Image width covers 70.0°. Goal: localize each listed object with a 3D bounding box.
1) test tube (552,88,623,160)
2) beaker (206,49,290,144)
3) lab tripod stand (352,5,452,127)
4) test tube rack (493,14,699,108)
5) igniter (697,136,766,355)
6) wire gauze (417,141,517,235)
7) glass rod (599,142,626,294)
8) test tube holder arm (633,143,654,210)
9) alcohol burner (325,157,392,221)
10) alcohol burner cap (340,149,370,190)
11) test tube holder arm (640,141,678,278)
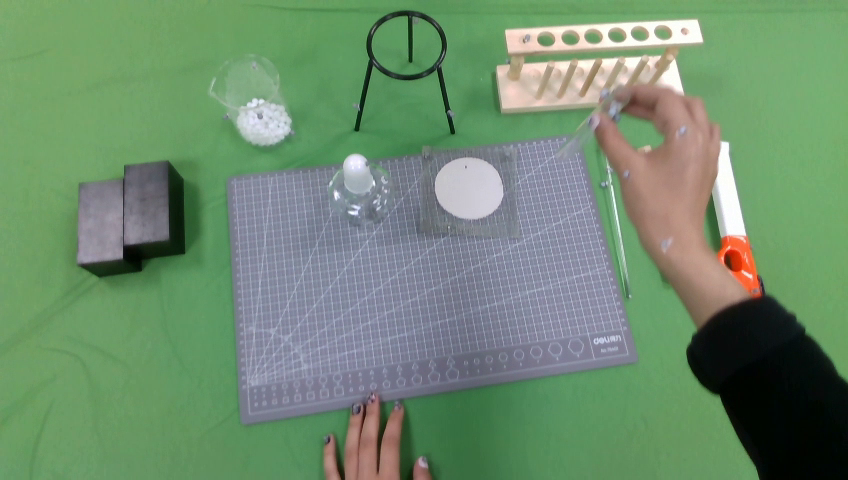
[{"bbox_3d":[0.142,-0.099,0.540,0.017,0.150,0.017,1,81,-4],"label":"test tube"},{"bbox_3d":[-0.207,-0.167,0.731,0.084,0.101,0.073,-16,72,-6],"label":"beaker"},{"bbox_3d":[-0.026,-0.200,0.731,0.148,0.132,0.147,1,73,-2],"label":"lab tripod stand"},{"bbox_3d":[0.216,-0.227,0.774,0.242,0.085,0.066,-4,72,-3],"label":"test tube rack"},{"bbox_3d":[0.372,0.001,0.736,0.057,0.025,0.274,2,71,-13],"label":"igniter"},{"bbox_3d":[0.054,-0.068,0.754,0.125,0.011,0.120,3,73,-2],"label":"wire gauze"},{"bbox_3d":[0.233,-0.031,0.750,0.008,0.008,0.198,-3,74,-3],"label":"glass rod"},{"bbox_3d":[0.280,-0.081,0.765,0.010,0.015,0.087,-17,70,29],"label":"test tube holder arm"},{"bbox_3d":[-0.077,-0.067,0.693,0.078,0.120,0.077,0,72,0],"label":"alcohol burner"},{"bbox_3d":[-0.076,-0.080,0.659,0.034,0.048,0.033,1,65,-1],"label":"alcohol burner cap"},{"bbox_3d":[0.290,-0.040,0.749,0.013,0.015,0.177,-18,69,29],"label":"test tube holder arm"}]
